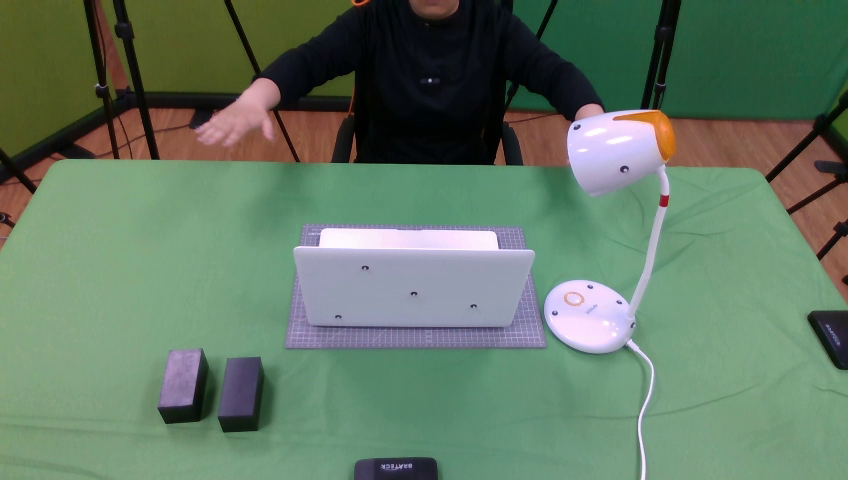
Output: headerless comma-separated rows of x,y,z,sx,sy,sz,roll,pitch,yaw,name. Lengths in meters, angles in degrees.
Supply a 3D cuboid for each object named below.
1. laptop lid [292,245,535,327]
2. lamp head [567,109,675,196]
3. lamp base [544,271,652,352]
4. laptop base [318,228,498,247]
-0.018,0.080,0.956,0.357,0.243,0.013,2,54,-5,laptop lid
0.272,-0.123,0.818,0.122,0.113,0.112,-9,35,37,lamp head
0.310,0.086,1.029,0.178,0.181,0.160,32,52,21,lamp base
-0.028,0.066,1.134,0.355,0.023,0.234,1,43,-4,laptop base
